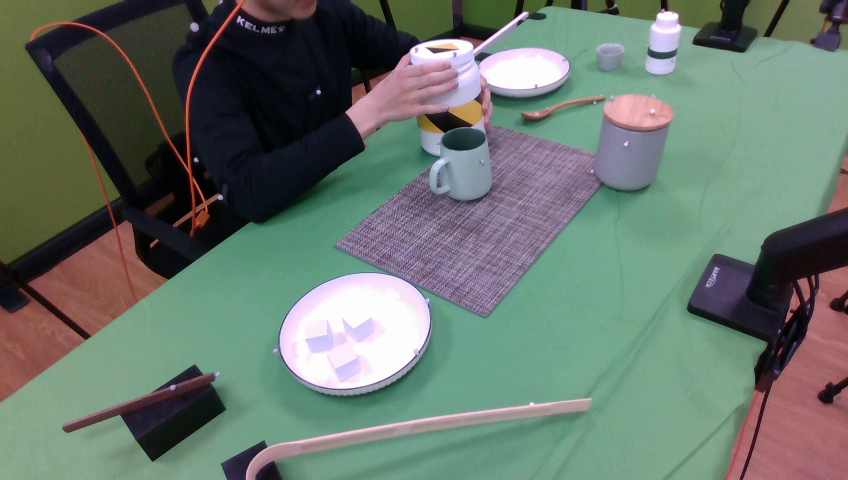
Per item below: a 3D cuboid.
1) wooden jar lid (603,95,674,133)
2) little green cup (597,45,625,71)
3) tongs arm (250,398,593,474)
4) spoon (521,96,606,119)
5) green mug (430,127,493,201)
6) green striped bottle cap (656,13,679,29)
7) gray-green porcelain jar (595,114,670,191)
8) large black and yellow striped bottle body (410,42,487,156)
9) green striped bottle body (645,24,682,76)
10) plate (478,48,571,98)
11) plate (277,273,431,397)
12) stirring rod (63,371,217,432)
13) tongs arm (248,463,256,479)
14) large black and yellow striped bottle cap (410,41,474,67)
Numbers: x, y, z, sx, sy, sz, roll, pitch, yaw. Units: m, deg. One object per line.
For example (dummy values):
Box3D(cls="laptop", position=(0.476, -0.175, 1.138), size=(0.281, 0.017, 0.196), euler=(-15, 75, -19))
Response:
Box3D(cls="wooden jar lid", position=(0.343, -0.200, 0.973), size=(0.108, 0.021, 0.108), euler=(-2, 39, 2))
Box3D(cls="little green cup", position=(0.423, -0.413, 1.375), size=(0.061, 0.039, 0.061), euler=(-3, 41, 3))
Box3D(cls="tongs arm", position=(0.008, 0.212, 0.674), size=(0.389, 0.028, 0.028), euler=(-5, 46, -11))
Box3D(cls="spoon", position=(0.291, -0.277, 1.249), size=(0.194, 0.022, 0.041), euler=(-17, 25, -11))
Box3D(cls="green mug", position=(0.059, -0.122, 1.034), size=(0.126, 0.105, 0.091), euler=(-35, 48, -28))
Box3D(cls="green striped bottle cap", position=(0.515, -0.463, 1.278), size=(0.044, 0.020, 0.044), euler=(-5, 41, 5))
Box3D(cls="gray-green porcelain jar", position=(0.346, -0.154, 1.017), size=(0.106, 0.127, 0.105), euler=(-2, 44, 2))
Box3D(cls="large black and yellow striped bottle body", position=(0.046, -0.266, 1.144), size=(0.130, 0.185, 0.130), euler=(-7, 38, 6))
Box3D(cls="green striped bottle body", position=(0.520, -0.424, 1.312), size=(0.063, 0.120, 0.063), euler=(-4, 41, 4))
Box3D(cls="plate", position=(0.223, -0.371, 1.357), size=(0.209, 0.038, 0.208), euler=(-4, 41, 4))
Box3D(cls="plate", position=(-0.091, 0.129, 0.821), size=(0.207, 0.039, 0.206), euler=(-4, 40, 4))
Box3D(cls="stirring rod", position=(-0.337, 0.192, 0.723), size=(0.177, 0.014, 0.005), euler=(-18, 42, -12))
Box3D(cls="tongs arm", position=(0.012, 0.262, 0.614), size=(0.385, 0.026, 0.050), euler=(3, 42, -2))
Box3D(cls="large black and yellow striped bottle cap", position=(0.032, -0.336, 1.090), size=(0.115, 0.019, 0.114), euler=(-3, 32, 2))
